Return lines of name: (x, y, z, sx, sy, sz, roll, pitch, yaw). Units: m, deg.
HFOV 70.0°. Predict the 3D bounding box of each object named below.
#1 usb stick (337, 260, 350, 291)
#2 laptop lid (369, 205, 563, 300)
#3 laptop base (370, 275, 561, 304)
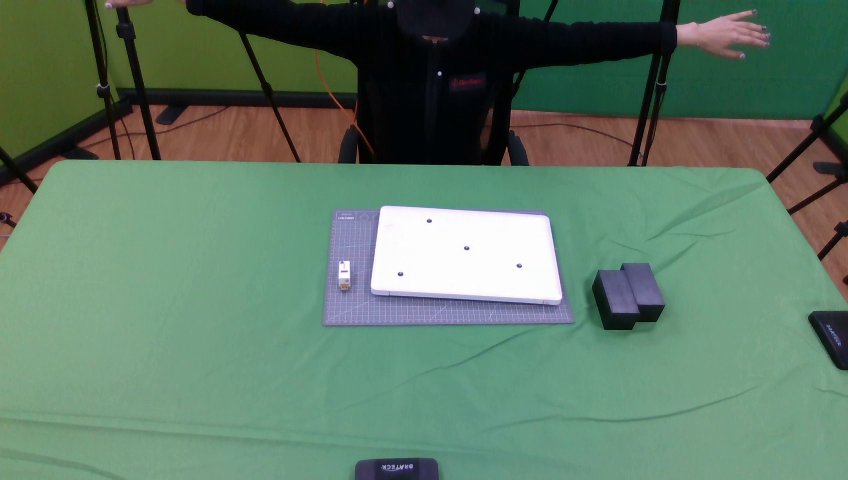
usb stick: (-0.148, 0.067, 1.115, 0.021, 0.027, 0.059, -1, 49, -5)
laptop lid: (0.081, 0.018, 1.173, 0.357, 0.013, 0.240, 5, 44, 0)
laptop base: (0.080, 0.028, 1.180, 0.354, 0.023, 0.234, 3, 43, -1)
